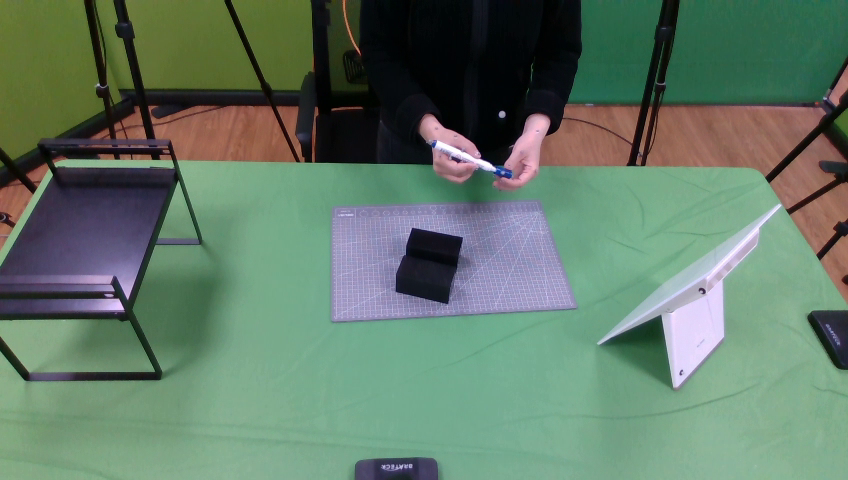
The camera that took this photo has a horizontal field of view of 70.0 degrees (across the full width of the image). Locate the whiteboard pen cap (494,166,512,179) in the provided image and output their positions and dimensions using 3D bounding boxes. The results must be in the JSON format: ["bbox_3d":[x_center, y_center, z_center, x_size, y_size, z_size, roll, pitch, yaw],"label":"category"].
[{"bbox_3d":[0.143,-0.124,1.107,0.033,0.018,0.018,13,45,-14],"label":"whiteboard pen cap"}]

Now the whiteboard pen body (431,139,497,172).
[{"bbox_3d":[0.077,-0.149,1.089,0.141,0.017,0.017,21,45,-14],"label":"whiteboard pen body"}]

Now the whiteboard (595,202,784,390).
[{"bbox_3d":[0.459,0.112,0.968,0.217,0.306,0.143,-31,75,-29],"label":"whiteboard"}]
